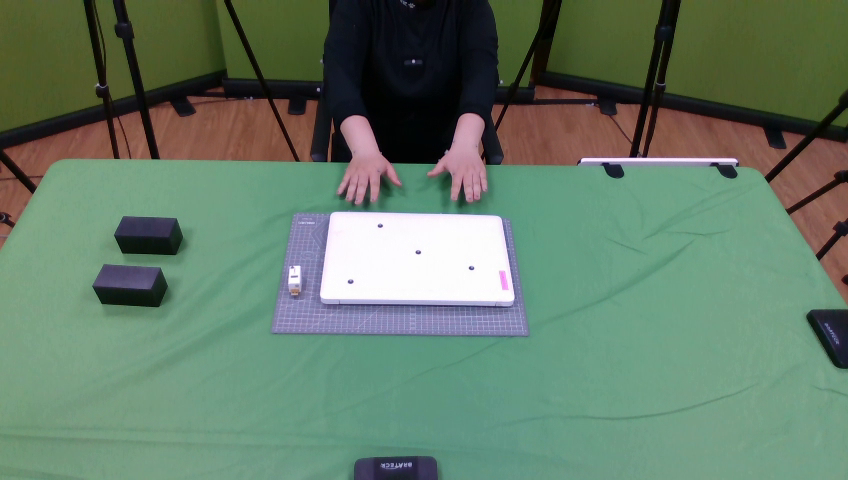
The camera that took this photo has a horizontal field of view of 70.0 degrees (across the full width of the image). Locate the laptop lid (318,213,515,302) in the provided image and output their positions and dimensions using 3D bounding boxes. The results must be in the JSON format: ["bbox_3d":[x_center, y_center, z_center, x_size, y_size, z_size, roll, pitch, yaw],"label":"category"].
[{"bbox_3d":[-0.014,0.027,1.155,0.357,0.013,0.240,2,43,-2],"label":"laptop lid"}]

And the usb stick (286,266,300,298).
[{"bbox_3d":[-0.237,0.077,1.097,0.021,0.027,0.059,-2,49,-6],"label":"usb stick"}]

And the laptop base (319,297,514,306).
[{"bbox_3d":[-0.015,0.037,1.162,0.354,0.023,0.234,1,42,-3],"label":"laptop base"}]
